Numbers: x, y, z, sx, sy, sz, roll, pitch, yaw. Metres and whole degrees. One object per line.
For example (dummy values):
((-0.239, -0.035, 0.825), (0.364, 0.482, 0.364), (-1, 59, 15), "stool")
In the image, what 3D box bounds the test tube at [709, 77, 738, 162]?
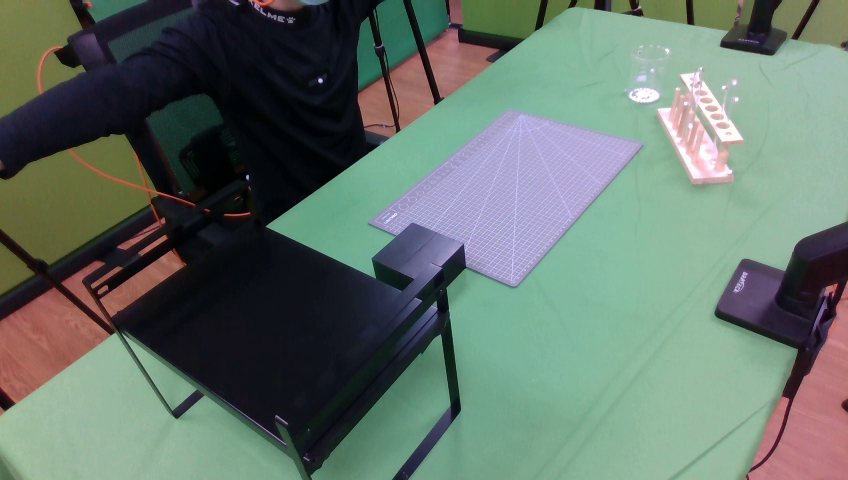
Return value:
((0.498, -0.198, 1.007), (0.017, 0.151, 0.017), (-3, 37, 3), "test tube")

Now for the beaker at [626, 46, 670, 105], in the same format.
((0.457, -0.336, 1.240), (0.084, 0.101, 0.073), (-12, 41, -6), "beaker")

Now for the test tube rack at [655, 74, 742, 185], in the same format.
((0.488, -0.205, 1.093), (0.067, 0.085, 0.241), (-3, 41, 5), "test tube rack")

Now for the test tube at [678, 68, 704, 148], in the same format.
((0.465, -0.228, 1.054), (0.017, 0.151, 0.017), (-3, 41, 3), "test tube")
